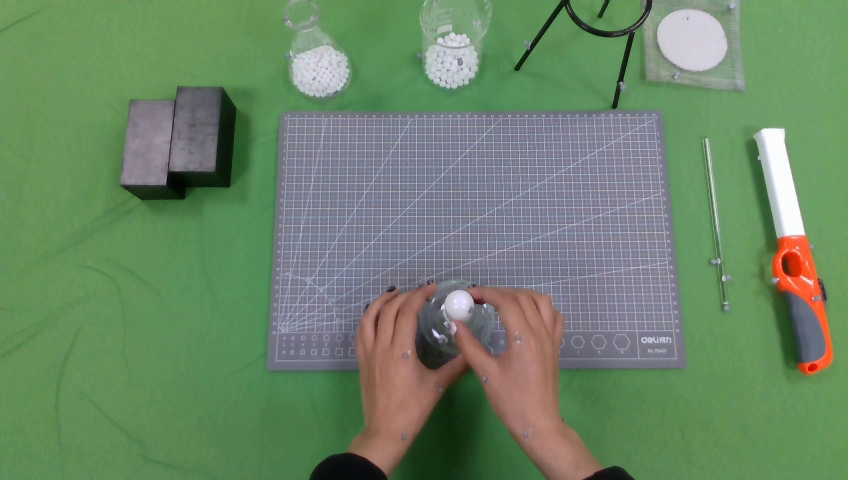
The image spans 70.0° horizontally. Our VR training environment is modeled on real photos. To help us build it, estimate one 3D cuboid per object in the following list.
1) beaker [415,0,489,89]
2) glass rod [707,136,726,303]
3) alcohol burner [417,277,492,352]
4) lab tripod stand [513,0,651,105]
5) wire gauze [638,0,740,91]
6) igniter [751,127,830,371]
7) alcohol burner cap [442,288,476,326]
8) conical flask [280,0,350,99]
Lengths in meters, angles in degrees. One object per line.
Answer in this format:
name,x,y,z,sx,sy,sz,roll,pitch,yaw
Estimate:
beaker,0.031,-0.225,0.686,0.084,0.100,0.073,-26,78,-7
glass rod,0.334,-0.027,0.692,0.008,0.008,0.198,3,76,0
alcohol burner,0.032,0.072,0.608,0.078,0.119,0.077,0,75,-1
lab tripod stand,0.180,-0.230,0.671,0.148,0.132,0.147,0,79,1
wire gauze,0.324,-0.244,0.740,0.125,0.011,0.121,4,78,-1
igniter,0.406,0.005,0.673,0.057,0.025,0.275,-1,77,-11
alcohol burner cap,0.032,0.061,0.572,0.034,0.048,0.033,-1,73,5
conical flask,-0.126,-0.216,0.670,0.075,0.122,0.075,0,76,0
